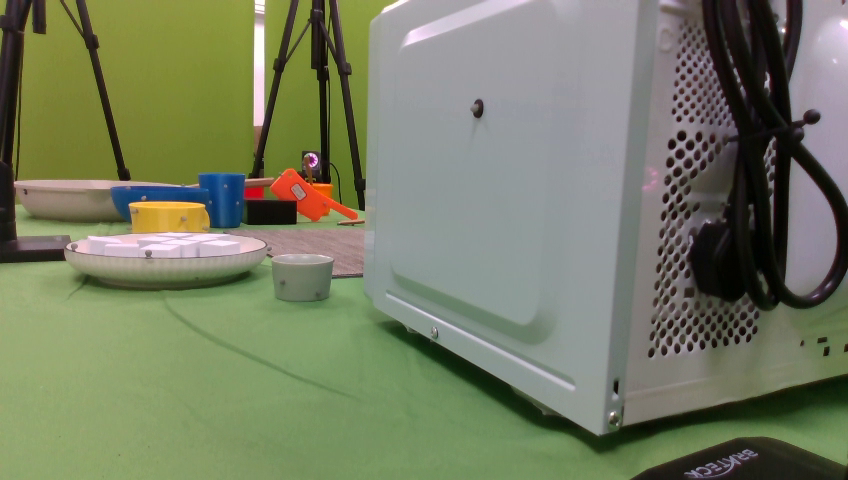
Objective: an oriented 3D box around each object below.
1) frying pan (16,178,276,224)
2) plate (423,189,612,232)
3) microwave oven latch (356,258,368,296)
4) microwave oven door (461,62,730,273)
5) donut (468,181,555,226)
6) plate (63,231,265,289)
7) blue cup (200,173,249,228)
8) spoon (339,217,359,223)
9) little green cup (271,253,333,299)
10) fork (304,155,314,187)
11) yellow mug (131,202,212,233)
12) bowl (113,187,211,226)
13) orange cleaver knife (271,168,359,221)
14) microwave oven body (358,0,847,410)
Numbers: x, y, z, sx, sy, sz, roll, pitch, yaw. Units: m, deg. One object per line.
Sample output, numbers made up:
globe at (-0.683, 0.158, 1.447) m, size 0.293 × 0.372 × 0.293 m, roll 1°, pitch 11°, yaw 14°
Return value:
frying pan at (-0.554, -0.096, 1.266) m, size 0.490 × 0.102 × 0.305 m, roll -10°, pitch 13°, yaw -24°
plate at (0.103, -0.029, 0.676) m, size 0.209 × 0.038 × 0.209 m, roll -1°, pitch -1°, yaw 0°
microwave oven latch at (-0.019, 0.031, 0.528) m, size 0.079 × 0.029 × 0.030 m, roll -1°, pitch 7°, yaw -24°
microwave oven door at (0.203, -0.099, 0.804) m, size 0.354 × 0.243 × 0.039 m, roll 8°, pitch 10°, yaw 39°
donut at (0.099, -0.039, 0.684) m, size 0.099 × 0.048 × 0.099 m, roll -1°, pitch -6°, yaw 0°
plate at (-0.288, 0.021, 0.687) m, size 0.208 × 0.039 × 0.207 m, roll 2°, pitch 8°, yaw 0°
blue cup at (-0.381, -0.076, 1.155) m, size 0.093 × 0.100 × 0.092 m, roll 0°, pitch 8°, yaw 0°
spoon at (-0.087, -0.041, 1.268) m, size 0.193 × 0.021 × 0.041 m, roll 4°, pitch 24°, yaw 13°
little green cup at (-0.122, 0.035, 0.605) m, size 0.061 × 0.038 × 0.061 m, roll 2°, pitch 5°, yaw 0°
fork at (-0.268, -0.134, 1.447) m, size 0.028 × 0.018 × 0.207 m, roll 2°, pitch -36°, yaw -1°
yellow mug at (-0.356, -0.020, 0.878) m, size 0.099 × 0.064 × 0.131 m, roll 5°, pitch 8°, yaw 21°
bowl at (-0.436, -0.046, 1.013) m, size 0.151 × 0.077 × 0.151 m, roll 2°, pitch 7°, yaw 0°
orange cleaver knife at (-0.236, -0.084, 1.333) m, size 0.212 × 0.077 × 0.012 m, roll 31°, pitch -10°, yaw -32°
microwave oven body at (0.210, -0.051, 0.471) m, size 0.444 × 0.260 × 0.324 m, roll -1°, pitch 7°, yaw -28°
